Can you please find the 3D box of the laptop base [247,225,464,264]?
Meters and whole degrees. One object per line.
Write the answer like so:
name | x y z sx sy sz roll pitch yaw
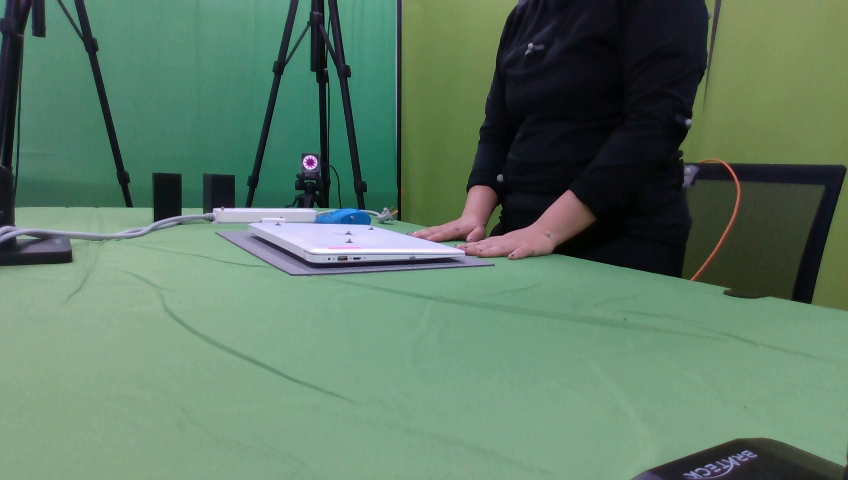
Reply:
laptop base | -0.124 0.006 0.955 0.237 0.023 0.352 2 6 -30

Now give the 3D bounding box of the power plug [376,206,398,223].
power plug | -0.088 -0.065 1.418 0.052 0.035 0.072 -33 23 0

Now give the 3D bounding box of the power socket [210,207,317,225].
power socket | -0.335 -0.051 1.281 0.228 0.032 0.072 -1 9 -29

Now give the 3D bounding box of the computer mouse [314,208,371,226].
computer mouse | -0.175 -0.046 1.292 0.118 0.041 0.062 -7 13 -34

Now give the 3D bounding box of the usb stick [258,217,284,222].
usb stick | -0.290 -0.028 1.119 0.059 0.027 0.021 -3 13 -29

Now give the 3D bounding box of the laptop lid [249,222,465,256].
laptop lid | -0.121 -0.005 0.955 0.243 0.013 0.355 1 7 -28
